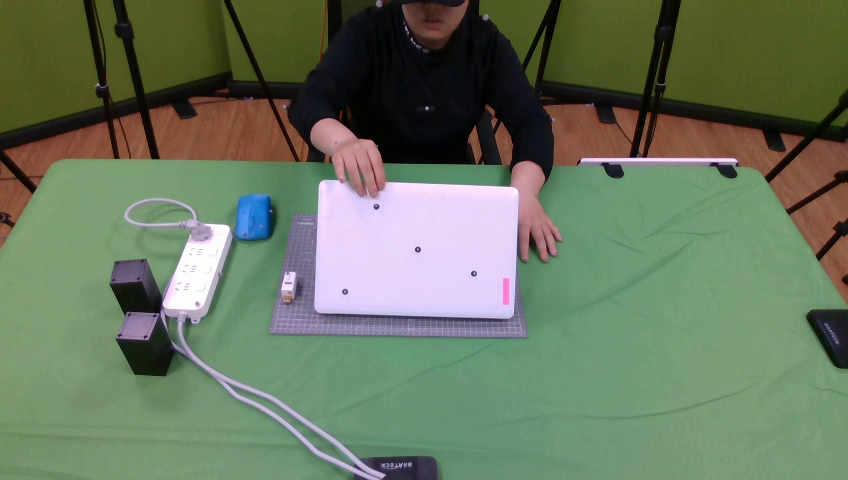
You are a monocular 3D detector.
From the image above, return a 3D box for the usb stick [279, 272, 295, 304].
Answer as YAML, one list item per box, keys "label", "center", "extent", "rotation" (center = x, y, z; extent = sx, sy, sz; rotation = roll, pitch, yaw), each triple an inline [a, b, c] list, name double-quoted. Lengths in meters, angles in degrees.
- label: "usb stick"
  center: [-0.246, 0.088, 1.086]
  extent: [0.021, 0.027, 0.059]
  rotation: [4, 46, -4]

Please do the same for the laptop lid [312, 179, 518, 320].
- label: "laptop lid"
  center: [-0.013, 0.016, 1.054]
  extent: [0.357, 0.013, 0.241]
  rotation: [4, 89, -2]

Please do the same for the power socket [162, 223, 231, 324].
- label: "power socket"
  center: [-0.412, 0.051, 1.107]
  extent: [0.072, 0.033, 0.225]
  rotation: [4, 46, -2]

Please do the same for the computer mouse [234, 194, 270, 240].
- label: "computer mouse"
  center: [-0.342, -0.049, 1.208]
  extent: [0.063, 0.041, 0.116]
  rotation: [-1, 49, -7]

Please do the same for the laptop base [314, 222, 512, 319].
- label: "laptop base"
  center: [-0.018, 0.055, 1.145]
  extent: [0.354, 0.023, 0.234]
  rotation: [2, 43, -2]

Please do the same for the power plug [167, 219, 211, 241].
- label: "power plug"
  center: [-0.438, -0.017, 1.144]
  extent: [0.072, 0.053, 0.035]
  rotation: [10, 43, 7]
